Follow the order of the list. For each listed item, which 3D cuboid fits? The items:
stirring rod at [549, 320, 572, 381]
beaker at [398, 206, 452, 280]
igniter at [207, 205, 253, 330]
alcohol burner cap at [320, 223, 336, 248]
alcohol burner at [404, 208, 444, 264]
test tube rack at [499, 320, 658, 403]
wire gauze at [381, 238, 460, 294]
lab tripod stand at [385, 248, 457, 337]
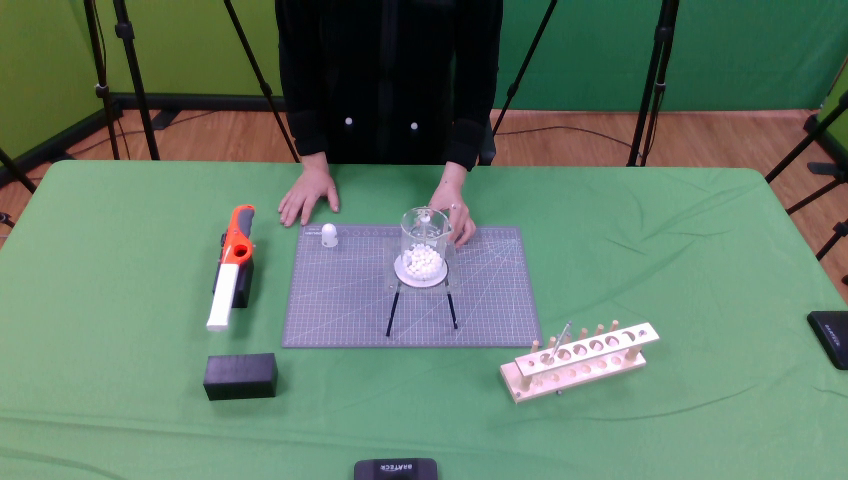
[{"bbox_3d":[0.201,0.167,0.901,0.006,0.177,0.014,-16,54,-10],"label":"stirring rod"},{"bbox_3d":[0.000,0.008,0.950,0.084,0.101,0.073,10,45,6],"label":"beaker"},{"bbox_3d":[-0.339,0.038,1.066,0.057,0.025,0.274,2,48,-6],"label":"igniter"},{"bbox_3d":[-0.188,-0.011,1.176,0.034,0.048,0.033,2,46,-2],"label":"alcohol burner cap"},{"bbox_3d":[0.000,-0.012,1.143,0.078,0.120,0.077,1,46,-1],"label":"alcohol burner"},{"bbox_3d":[0.252,0.187,0.994,0.243,0.085,0.066,-12,48,-15],"label":"test tube rack"},{"bbox_3d":[-0.008,0.042,0.985,0.125,0.011,0.120,-1,43,-2],"label":"wire gauze"},{"bbox_3d":[-0.010,0.087,1.032,0.148,0.132,0.147,1,45,-1],"label":"lab tripod stand"}]
